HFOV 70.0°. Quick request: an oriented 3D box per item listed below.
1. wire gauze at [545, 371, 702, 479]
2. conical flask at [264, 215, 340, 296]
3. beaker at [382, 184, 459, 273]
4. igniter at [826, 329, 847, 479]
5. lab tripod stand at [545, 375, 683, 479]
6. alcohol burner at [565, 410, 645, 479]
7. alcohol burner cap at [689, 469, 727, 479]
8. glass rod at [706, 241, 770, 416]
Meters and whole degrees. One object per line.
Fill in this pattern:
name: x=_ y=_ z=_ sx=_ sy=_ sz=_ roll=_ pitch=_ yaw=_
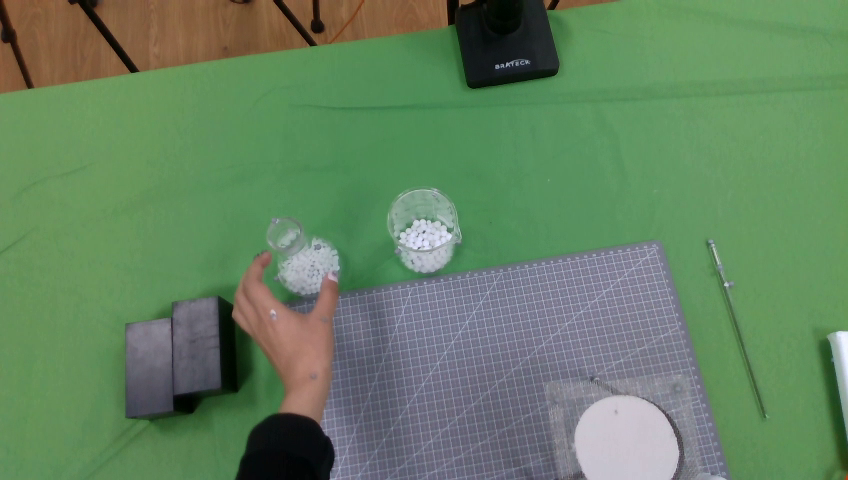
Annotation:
wire gauze: x=0.171 y=0.177 z=0.514 sx=0.125 sy=0.011 sz=0.120 roll=-4 pitch=74 yaw=2
conical flask: x=-0.138 y=0.012 z=0.659 sx=0.075 sy=0.122 sz=0.075 roll=-1 pitch=72 yaw=2
beaker: x=0.000 y=-0.007 z=0.673 sx=0.084 sy=0.101 sz=0.074 roll=25 pitch=75 yaw=10
igniter: x=0.450 y=0.229 z=0.617 sx=0.057 sy=0.025 sz=0.275 roll=5 pitch=72 yaw=-7
lab tripod stand: x=0.176 y=0.199 z=0.578 sx=0.148 sy=0.132 sz=0.147 roll=-1 pitch=73 yaw=2
alcohol burner: x=0.178 y=0.203 z=0.587 sx=0.078 sy=0.120 sz=0.077 roll=-1 pitch=72 yaw=4
alcohol burner cap: x=0.289 y=0.247 z=0.606 sx=0.034 sy=0.048 sz=0.033 roll=-1 pitch=72 yaw=2
glass rod: x=0.348 y=0.094 z=0.673 sx=0.008 sy=0.008 sz=0.198 roll=-10 pitch=71 yaw=-1
